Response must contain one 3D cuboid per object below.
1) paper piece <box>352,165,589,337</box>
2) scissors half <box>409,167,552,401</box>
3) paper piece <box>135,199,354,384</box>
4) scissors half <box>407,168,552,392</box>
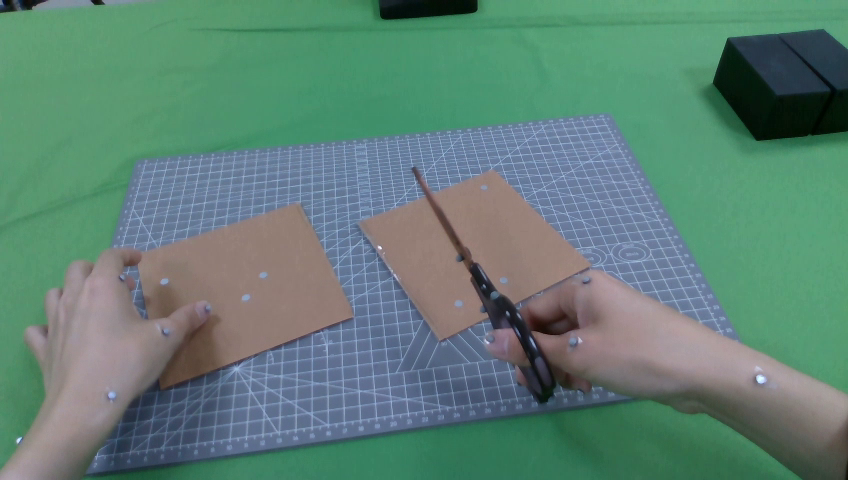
[{"bbox_3d":[0.034,0.000,0.478,0.138,0.009,0.134,-22,54,-20],"label":"paper piece"},{"bbox_3d":[0.030,0.023,0.384,0.013,0.040,0.174,-27,72,-7],"label":"scissors half"},{"bbox_3d":[-0.139,0.030,0.454,0.136,0.004,0.134,-19,50,-16],"label":"paper piece"},{"bbox_3d":[0.027,0.014,0.367,0.013,0.040,0.173,-30,56,-2],"label":"scissors half"}]
